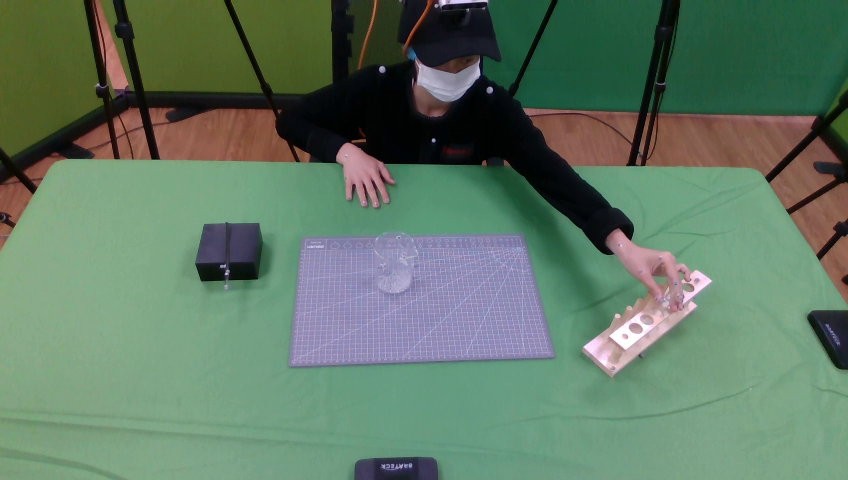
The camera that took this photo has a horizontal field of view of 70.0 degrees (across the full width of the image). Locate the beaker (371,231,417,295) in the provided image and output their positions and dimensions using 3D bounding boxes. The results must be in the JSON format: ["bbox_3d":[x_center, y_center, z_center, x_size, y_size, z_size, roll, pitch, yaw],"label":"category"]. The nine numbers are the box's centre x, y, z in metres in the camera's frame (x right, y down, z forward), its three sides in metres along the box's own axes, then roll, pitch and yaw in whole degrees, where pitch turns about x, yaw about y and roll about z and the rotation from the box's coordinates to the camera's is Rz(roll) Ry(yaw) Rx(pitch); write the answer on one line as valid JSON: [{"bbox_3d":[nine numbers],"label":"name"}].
[{"bbox_3d":[-0.054,0.045,1.093,0.084,0.101,0.073,17,47,10],"label":"beaker"}]

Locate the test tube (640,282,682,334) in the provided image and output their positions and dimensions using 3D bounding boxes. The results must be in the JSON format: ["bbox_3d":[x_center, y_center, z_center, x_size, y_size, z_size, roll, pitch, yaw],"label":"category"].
[{"bbox_3d":[0.389,0.116,1.002,0.017,0.151,0.017,2,53,-3],"label":"test tube"}]

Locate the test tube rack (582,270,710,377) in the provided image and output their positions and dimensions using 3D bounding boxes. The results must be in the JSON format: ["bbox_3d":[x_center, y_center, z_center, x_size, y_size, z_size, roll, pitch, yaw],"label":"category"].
[{"bbox_3d":[0.389,0.132,1.057,0.242,0.085,0.066,-28,54,-28],"label":"test tube rack"}]

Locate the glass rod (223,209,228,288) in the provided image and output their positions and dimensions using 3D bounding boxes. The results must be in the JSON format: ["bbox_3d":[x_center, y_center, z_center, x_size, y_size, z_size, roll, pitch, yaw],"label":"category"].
[{"bbox_3d":[-0.360,0.011,1.098,0.008,0.008,0.198,-7,47,-12],"label":"glass rod"}]
